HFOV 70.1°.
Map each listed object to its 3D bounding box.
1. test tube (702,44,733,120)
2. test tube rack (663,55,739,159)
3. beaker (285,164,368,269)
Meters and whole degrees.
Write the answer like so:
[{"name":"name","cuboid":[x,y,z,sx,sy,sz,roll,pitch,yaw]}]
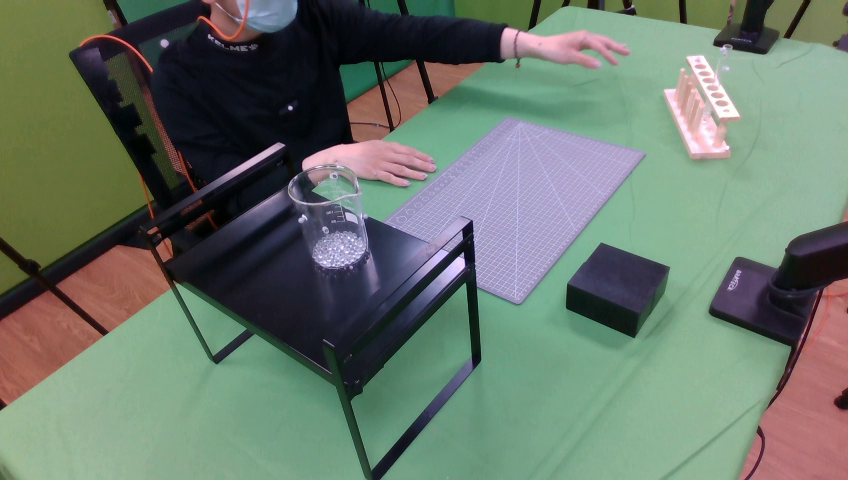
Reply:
[{"name":"test tube","cuboid":[0.530,-0.282,1.095,0.017,0.151,0.017,-2,45,3]},{"name":"test tube rack","cuboid":[0.517,-0.256,1.144,0.066,0.085,0.241,-1,41,8]},{"name":"beaker","cuboid":[-0.102,-0.024,0.676,0.083,0.101,0.074,8,43,17]}]
